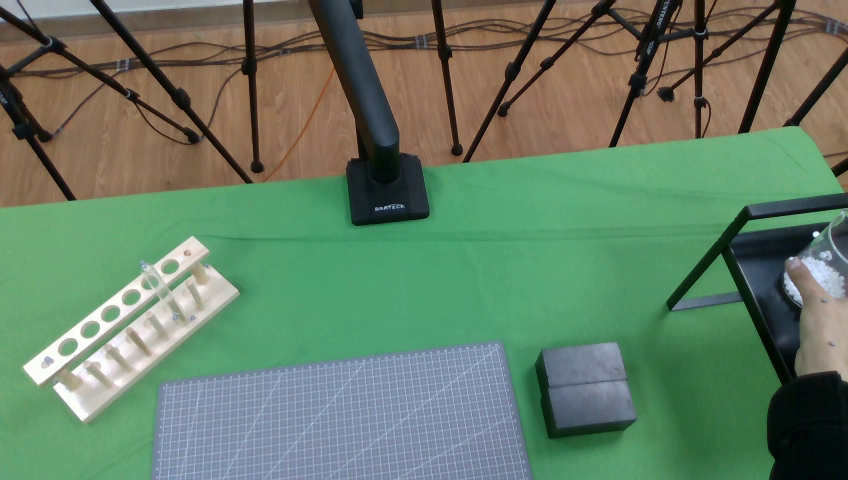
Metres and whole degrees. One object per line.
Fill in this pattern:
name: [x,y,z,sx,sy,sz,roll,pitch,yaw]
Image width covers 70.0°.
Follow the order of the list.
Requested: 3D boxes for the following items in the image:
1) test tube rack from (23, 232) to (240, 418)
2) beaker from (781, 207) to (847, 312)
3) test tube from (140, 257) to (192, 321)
test tube rack: [-0.360,0.105,0.773,0.066,0.086,0.242,38,65,19]
beaker: [0.436,0.024,0.642,0.074,0.101,0.083,-3,58,-4]
test tube: [-0.316,0.064,0.748,0.017,0.151,0.017,1,58,-1]
